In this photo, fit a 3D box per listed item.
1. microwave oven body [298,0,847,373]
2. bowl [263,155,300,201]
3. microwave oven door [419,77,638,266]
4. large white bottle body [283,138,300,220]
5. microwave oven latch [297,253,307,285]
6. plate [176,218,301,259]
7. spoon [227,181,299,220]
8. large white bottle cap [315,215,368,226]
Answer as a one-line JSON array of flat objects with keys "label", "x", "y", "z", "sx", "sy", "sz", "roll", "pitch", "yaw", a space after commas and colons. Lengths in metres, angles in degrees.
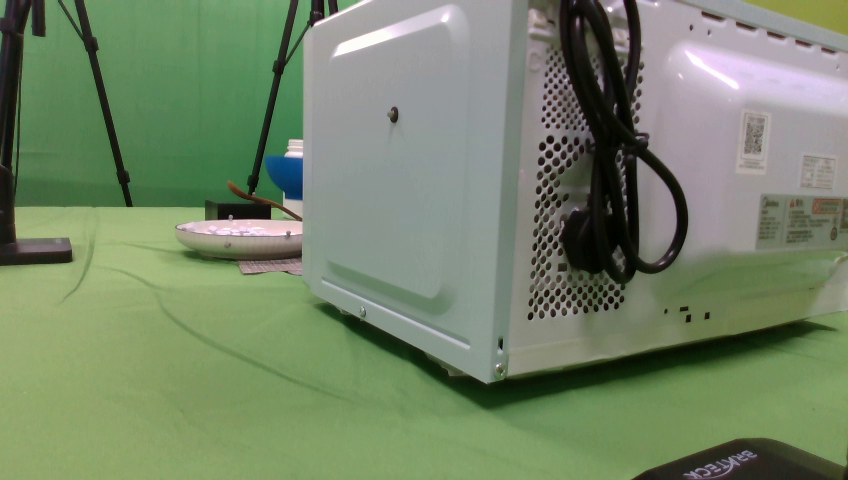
[{"label": "microwave oven body", "x": 0.151, "y": -0.055, "z": 0.542, "sx": 0.444, "sy": 0.260, "sz": 0.324, "roll": -1, "pitch": 7, "yaw": -33}, {"label": "bowl", "x": -0.219, "y": -0.112, "z": 1.115, "sx": 0.151, "sy": 0.077, "sz": 0.151, "roll": 4, "pitch": 6, "yaw": 0}, {"label": "microwave oven door", "x": 0.133, "y": -0.105, "z": 0.894, "sx": 0.354, "sy": 0.243, "sz": 0.039, "roll": 9, "pitch": 10, "yaw": 43}, {"label": "large white bottle body", "x": -0.265, "y": -0.143, "z": 1.424, "sx": 0.131, "sy": 0.184, "sz": 0.130, "roll": 2, "pitch": 7, "yaw": 0}, {"label": "microwave oven latch", "x": -0.082, "y": 0.027, "z": 0.582, "sx": 0.079, "sy": 0.029, "sz": 0.030, "roll": -1, "pitch": 7, "yaw": -32}, {"label": "plate", "x": -0.248, "y": -0.003, "z": 0.877, "sx": 0.209, "sy": 0.038, "sz": 0.209, "roll": 1, "pitch": 8, "yaw": 0}, {"label": "spoon", "x": -0.315, "y": -0.074, "z": 1.235, "sx": 0.195, "sy": 0.021, "sz": 0.041, "roll": 24, "pitch": -12, "yaw": -37}, {"label": "large white bottle cap", "x": -0.177, "y": -0.042, "z": 1.309, "sx": 0.115, "sy": 0.018, "sz": 0.115, "roll": 2, "pitch": 6, "yaw": 0}]
